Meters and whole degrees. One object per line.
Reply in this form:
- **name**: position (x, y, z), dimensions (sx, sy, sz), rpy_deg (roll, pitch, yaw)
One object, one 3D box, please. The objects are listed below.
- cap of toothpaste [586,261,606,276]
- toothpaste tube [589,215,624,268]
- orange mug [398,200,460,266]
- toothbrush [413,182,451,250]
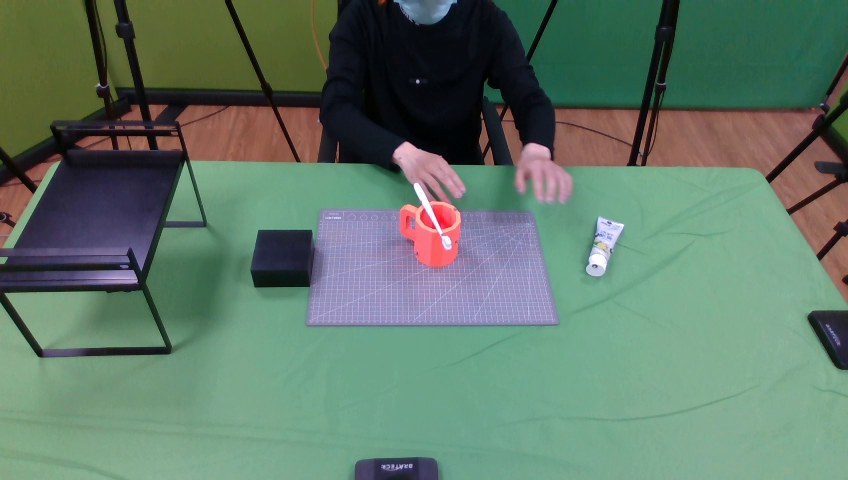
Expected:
- **cap of toothpaste**: position (0.330, 0.053, 1.160), dimensions (0.037, 0.037, 0.011), rpy_deg (12, 48, 7)
- **toothpaste tube**: position (0.363, 0.005, 1.216), dimensions (0.055, 0.034, 0.164), rpy_deg (24, 46, 8)
- **orange mug**: position (0.007, -0.020, 1.161), dimensions (0.126, 0.101, 0.083), rpy_deg (27, 50, 15)
- **toothbrush**: position (0.013, -0.050, 1.118), dimensions (0.014, 0.017, 0.180), rpy_deg (-14, 49, -14)
